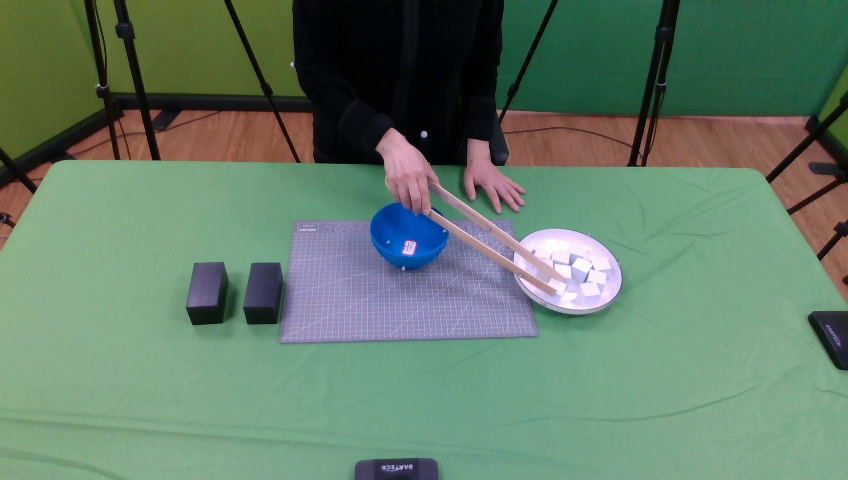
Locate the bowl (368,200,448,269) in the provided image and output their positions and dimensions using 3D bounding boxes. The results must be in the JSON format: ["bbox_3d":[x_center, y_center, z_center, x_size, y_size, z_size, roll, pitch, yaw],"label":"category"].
[{"bbox_3d":[-0.030,0.002,1.151,0.151,0.077,0.150,2,46,-2],"label":"bowl"}]

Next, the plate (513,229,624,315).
[{"bbox_3d":[0.268,0.063,1.146,0.208,0.039,0.206,3,46,-3],"label":"plate"}]

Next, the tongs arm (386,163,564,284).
[{"bbox_3d":[0.088,-0.029,1.124,0.384,0.026,0.050,38,58,11],"label":"tongs arm"}]

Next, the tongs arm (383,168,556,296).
[{"bbox_3d":[0.075,-0.014,1.111,0.387,0.028,0.028,35,61,9],"label":"tongs arm"}]
